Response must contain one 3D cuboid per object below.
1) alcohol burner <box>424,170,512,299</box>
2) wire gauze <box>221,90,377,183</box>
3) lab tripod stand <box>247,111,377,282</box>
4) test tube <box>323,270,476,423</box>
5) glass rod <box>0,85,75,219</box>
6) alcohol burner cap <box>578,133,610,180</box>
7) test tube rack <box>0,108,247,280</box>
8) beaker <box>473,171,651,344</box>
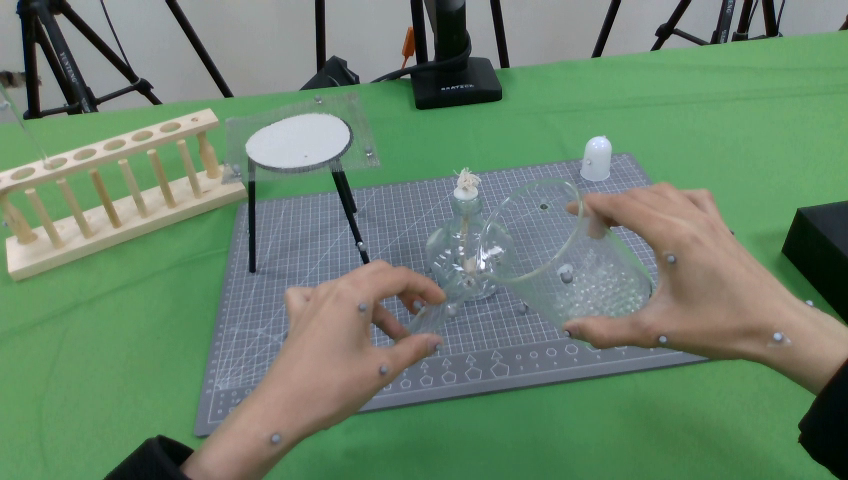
[{"bbox_3d":[0.037,-0.008,0.520,0.078,0.120,0.077,-3,39,3],"label":"alcohol burner"},{"bbox_3d":[-0.109,-0.088,0.511,0.125,0.011,0.120,-12,41,-7],"label":"wire gauze"},{"bbox_3d":[-0.104,-0.037,0.555,0.148,0.133,0.147,-3,42,3],"label":"lab tripod stand"},{"bbox_3d":[-0.020,0.074,0.402,0.150,0.017,0.017,-47,37,20],"label":"test tube"},{"bbox_3d":[-0.377,-0.090,0.585,0.008,0.201,0.008,-2,44,3],"label":"glass rod"},{"bbox_3d":[0.186,-0.094,0.661,0.034,0.048,0.033,-3,40,3],"label":"alcohol burner cap"},{"bbox_3d":[-0.324,-0.054,0.640,0.243,0.086,0.066,-24,44,-21],"label":"test tube rack"},{"bbox_3d":[0.090,0.018,0.386,0.084,0.101,0.073,-39,35,19],"label":"beaker"}]
